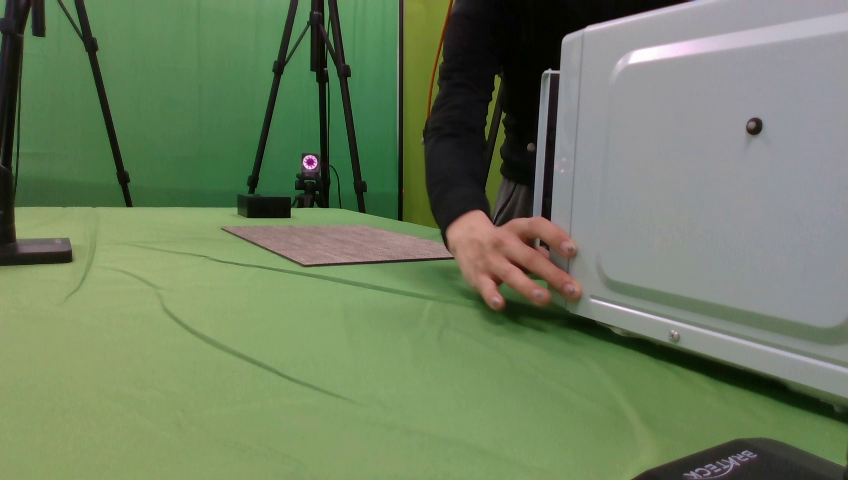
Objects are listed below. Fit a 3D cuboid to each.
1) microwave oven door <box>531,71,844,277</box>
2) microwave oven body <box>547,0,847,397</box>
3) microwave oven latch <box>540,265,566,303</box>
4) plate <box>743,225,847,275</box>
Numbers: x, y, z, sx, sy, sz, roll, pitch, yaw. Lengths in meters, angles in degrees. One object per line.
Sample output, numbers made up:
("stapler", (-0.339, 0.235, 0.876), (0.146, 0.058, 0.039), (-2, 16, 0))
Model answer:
("microwave oven door", (0.319, -0.082, 0.750), (0.356, 0.243, 0.039), (2, 8, 3))
("microwave oven body", (0.378, -0.045, 0.509), (0.444, 0.260, 0.324), (-2, 8, -31))
("microwave oven latch", (0.143, 0.040, 0.537), (0.079, 0.029, 0.030), (2, 6, 6))
("plate", (0.407, 0.008, 0.553), (0.209, 0.038, 0.209), (0, 4, 0))
